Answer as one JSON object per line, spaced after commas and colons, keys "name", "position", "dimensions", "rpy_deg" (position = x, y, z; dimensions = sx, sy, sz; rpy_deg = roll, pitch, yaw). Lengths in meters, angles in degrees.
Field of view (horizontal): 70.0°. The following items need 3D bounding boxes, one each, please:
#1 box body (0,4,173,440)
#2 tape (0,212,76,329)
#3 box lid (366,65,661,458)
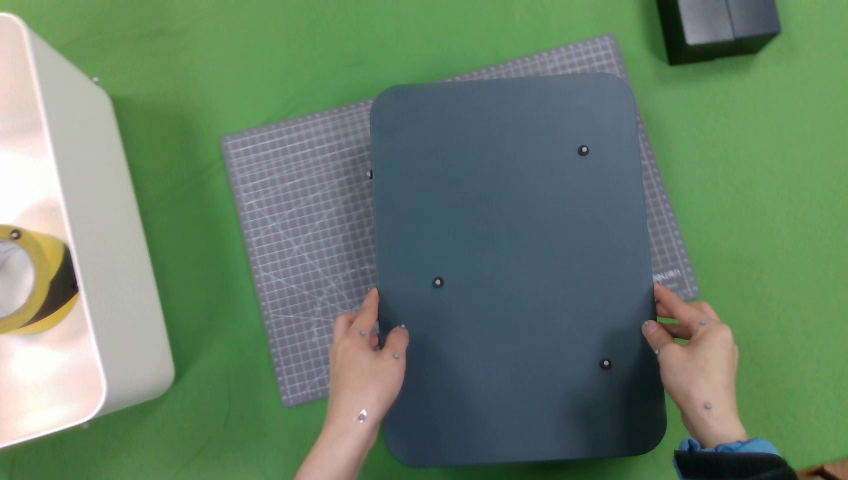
{"name": "box body", "position": [-0.417, 0.006, 0.572], "dimensions": [0.254, 0.161, 0.363], "rpy_deg": [-17, 83, -2]}
{"name": "tape", "position": [-0.422, 0.033, 0.618], "dimensions": [0.117, 0.053, 0.116], "rpy_deg": [0, 84, 1]}
{"name": "box lid", "position": [0.082, 0.012, 0.580], "dimensions": [0.263, 0.015, 0.370], "rpy_deg": [-3, 84, -1]}
